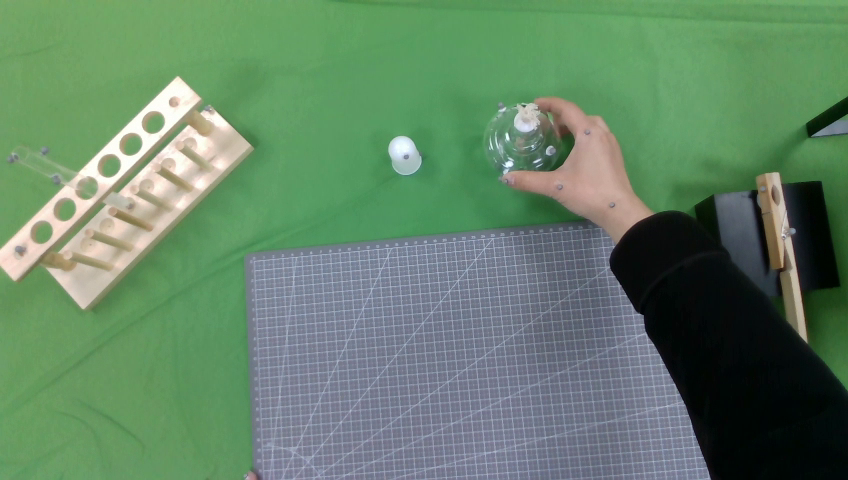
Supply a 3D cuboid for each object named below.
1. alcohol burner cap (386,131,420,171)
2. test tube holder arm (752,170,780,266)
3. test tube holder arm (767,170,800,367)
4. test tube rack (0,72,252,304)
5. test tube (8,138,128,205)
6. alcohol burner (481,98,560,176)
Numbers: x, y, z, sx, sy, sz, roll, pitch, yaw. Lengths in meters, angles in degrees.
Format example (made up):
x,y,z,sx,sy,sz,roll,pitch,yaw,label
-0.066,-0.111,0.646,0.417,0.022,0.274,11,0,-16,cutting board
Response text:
x,y,z,sx,sy,sz,roll,pitch,yaw,label
-0.023,-0.094,0.620,0.034,0.048,0.033,-1,77,6,alcohol burner cap
0.313,-0.020,0.553,0.010,0.015,0.087,-3,82,-14,test tube holder arm
0.322,0.025,0.548,0.013,0.015,0.178,-2,82,-14,test tube holder arm
-0.295,-0.047,0.607,0.066,0.085,0.242,44,87,8,test tube rack
-0.321,-0.059,0.560,0.017,0.151,0.017,-1,77,6,test tube
0.093,-0.104,0.579,0.078,0.119,0.077,-1,80,6,alcohol burner
